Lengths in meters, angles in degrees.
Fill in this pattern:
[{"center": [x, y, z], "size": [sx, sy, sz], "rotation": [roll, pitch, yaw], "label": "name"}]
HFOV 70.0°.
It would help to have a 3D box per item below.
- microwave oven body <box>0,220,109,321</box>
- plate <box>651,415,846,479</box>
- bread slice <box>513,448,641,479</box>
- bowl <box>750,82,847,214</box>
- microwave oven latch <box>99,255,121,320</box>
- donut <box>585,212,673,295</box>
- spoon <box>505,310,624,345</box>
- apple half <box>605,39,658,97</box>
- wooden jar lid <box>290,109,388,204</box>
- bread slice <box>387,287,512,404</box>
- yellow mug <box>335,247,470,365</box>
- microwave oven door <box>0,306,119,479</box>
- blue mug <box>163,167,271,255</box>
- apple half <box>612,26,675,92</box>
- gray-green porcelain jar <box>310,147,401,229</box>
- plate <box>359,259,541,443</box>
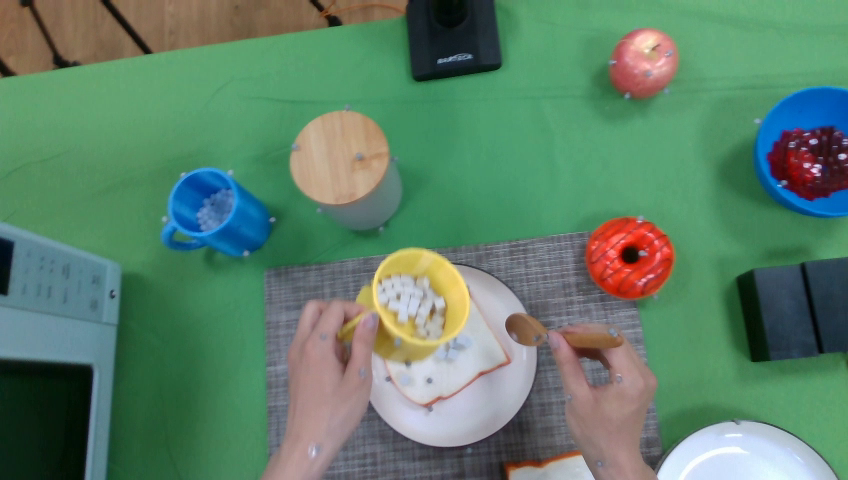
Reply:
[{"center": [-0.546, 0.218, 0.631], "size": [0.326, 0.261, 0.439], "rotation": [-4, 78, 5], "label": "microwave oven body"}, {"center": [0.340, 0.290, 0.638], "size": [0.209, 0.038, 0.208], "rotation": [-1, 77, 6], "label": "plate"}, {"center": [0.170, 0.278, 0.632], "size": [0.135, 0.018, 0.106], "rotation": [-10, 73, -16], "label": "bread slice"}, {"center": [0.441, -0.094, 0.691], "size": [0.151, 0.077, 0.150], "rotation": [-1, 78, 6], "label": "bowl"}, {"center": [-0.396, 0.059, 0.750], "size": [0.030, 0.029, 0.079], "rotation": [-2, 78, 5], "label": "microwave oven latch"}, {"center": [0.237, 0.016, 0.703], "size": [0.099, 0.048, 0.098], "rotation": [-1, 78, 6], "label": "donut"}, {"center": [0.124, 0.086, 0.562], "size": [0.021, 0.193, 0.042], "rotation": [-31, 95, -15], "label": "spoon"}, {"center": [0.243, -0.199, 0.738], "size": [0.033, 0.082, 0.081], "rotation": [-39, 76, -8], "label": "apple half"}, {"center": [-0.092, -0.089, 0.660], "size": [0.108, 0.021, 0.108], "rotation": [-2, 75, 6], "label": "wooden jar lid"}, {"center": [0.022, 0.129, 0.706], "size": [0.131, 0.019, 0.104], "rotation": [-32, 75, -2], "label": "bread slice"}, {"center": [-0.026, 0.070, 0.585], "size": [0.131, 0.064, 0.099], "rotation": [-19, 73, -30], "label": "yellow mug"}, {"center": [-0.400, 0.249, 0.603], "size": [0.039, 0.245, 0.354], "rotation": [-4, 77, 5], "label": "microwave oven door"}, {"center": [-0.259, -0.024, 0.738], "size": [0.116, 0.106, 0.082], "rotation": [-32, 75, -1], "label": "blue mug"}, {"center": [0.273, -0.224, 0.742], "size": [0.053, 0.075, 0.080], "rotation": [-38, 72, -8], "label": "apple half"}, {"center": [-0.084, -0.074, 0.720], "size": [0.106, 0.127, 0.105], "rotation": [-1, 77, 6], "label": "gray-green porcelain jar"}, {"center": [0.030, 0.127, 0.704], "size": [0.207, 0.039, 0.206], "rotation": [-1, 77, 6], "label": "plate"}]
